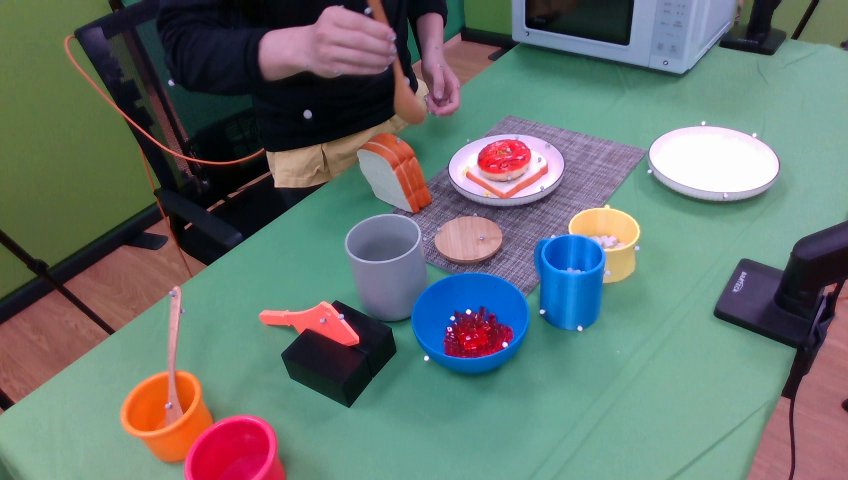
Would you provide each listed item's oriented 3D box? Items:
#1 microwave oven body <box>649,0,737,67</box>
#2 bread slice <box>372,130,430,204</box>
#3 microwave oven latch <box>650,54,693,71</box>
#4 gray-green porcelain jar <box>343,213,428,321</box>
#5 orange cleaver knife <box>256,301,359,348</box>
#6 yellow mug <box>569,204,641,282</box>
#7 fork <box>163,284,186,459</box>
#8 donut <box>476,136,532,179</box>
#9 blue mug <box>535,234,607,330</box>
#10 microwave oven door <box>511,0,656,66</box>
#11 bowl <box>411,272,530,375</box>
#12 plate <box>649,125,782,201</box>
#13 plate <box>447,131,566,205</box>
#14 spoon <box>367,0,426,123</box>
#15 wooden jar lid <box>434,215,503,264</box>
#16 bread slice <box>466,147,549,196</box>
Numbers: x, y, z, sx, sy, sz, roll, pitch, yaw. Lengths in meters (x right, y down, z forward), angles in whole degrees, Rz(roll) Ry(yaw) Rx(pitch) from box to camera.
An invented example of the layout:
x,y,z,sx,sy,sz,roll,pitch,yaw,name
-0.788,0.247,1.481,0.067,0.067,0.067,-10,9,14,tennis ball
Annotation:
x,y,z,sx,sy,sz,roll,pitch,yaw,name
0.475,-0.602,1.411,0.438,0.261,0.327,23,50,32,microwave oven body
-0.043,-0.127,1.038,0.106,0.135,0.018,30,62,33,bread slice
0.531,-0.386,1.301,0.078,0.029,0.030,26,51,33,microwave oven latch
-0.049,0.042,0.849,0.106,0.127,0.105,-4,41,4,gray-green porcelain jar
-0.160,0.115,0.813,0.210,0.077,0.012,-9,29,48,orange cleaver knife
0.268,-0.004,0.904,0.099,0.064,0.130,6,41,16,yellow mug
-0.302,0.157,0.733,0.028,0.019,0.207,-3,84,15,fork
0.140,-0.146,1.058,0.099,0.048,0.098,-6,41,6,donut
0.191,0.048,0.824,0.082,0.106,0.115,-26,44,-20,blue mug
0.351,-0.540,1.349,0.353,0.245,0.039,24,50,31,microwave oven door
0.061,0.120,0.780,0.151,0.077,0.150,-4,40,4,bowl
0.493,-0.127,1.036,0.207,0.039,0.206,-4,41,4,plate
0.146,-0.124,1.076,0.209,0.038,0.208,-4,41,4,plate
-0.038,-0.220,0.736,0.041,0.195,0.021,3,46,24,spoon
0.070,0.001,0.956,0.108,0.021,0.108,-4,40,4,wooden jar lid
0.156,-0.129,1.085,0.132,0.019,0.104,-34,49,-23,bread slice
